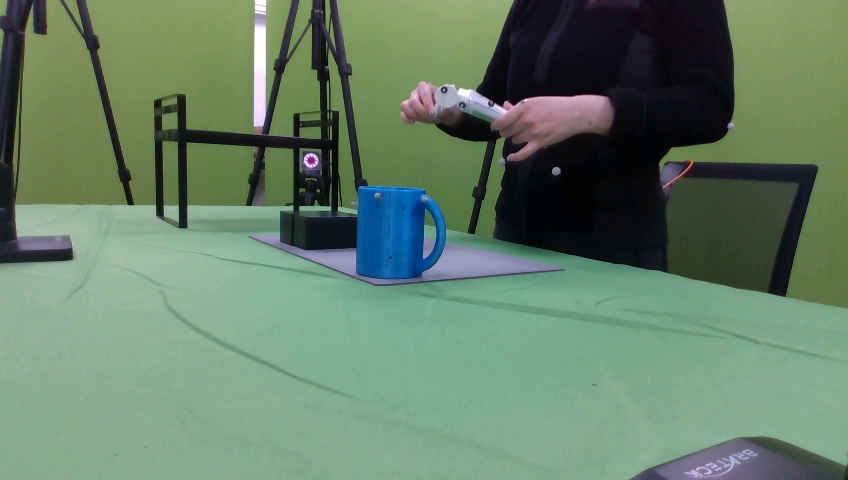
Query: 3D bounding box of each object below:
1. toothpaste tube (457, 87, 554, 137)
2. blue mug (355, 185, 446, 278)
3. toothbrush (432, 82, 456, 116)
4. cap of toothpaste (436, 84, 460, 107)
[{"bbox_3d":[0.119,-0.192,0.922,0.165,0.034,0.055,21,10,-11],"label":"toothpaste tube"},{"bbox_3d":[-0.027,-0.011,0.723,0.116,0.106,0.083,7,8,27],"label":"blue mug"},{"bbox_3d":[0.030,-0.229,0.993,0.017,0.014,0.181,-15,0,-7],"label":"toothbrush"},{"bbox_3d":[0.035,-0.214,0.891,0.037,0.037,0.011,1,37,-6],"label":"cap of toothpaste"}]
